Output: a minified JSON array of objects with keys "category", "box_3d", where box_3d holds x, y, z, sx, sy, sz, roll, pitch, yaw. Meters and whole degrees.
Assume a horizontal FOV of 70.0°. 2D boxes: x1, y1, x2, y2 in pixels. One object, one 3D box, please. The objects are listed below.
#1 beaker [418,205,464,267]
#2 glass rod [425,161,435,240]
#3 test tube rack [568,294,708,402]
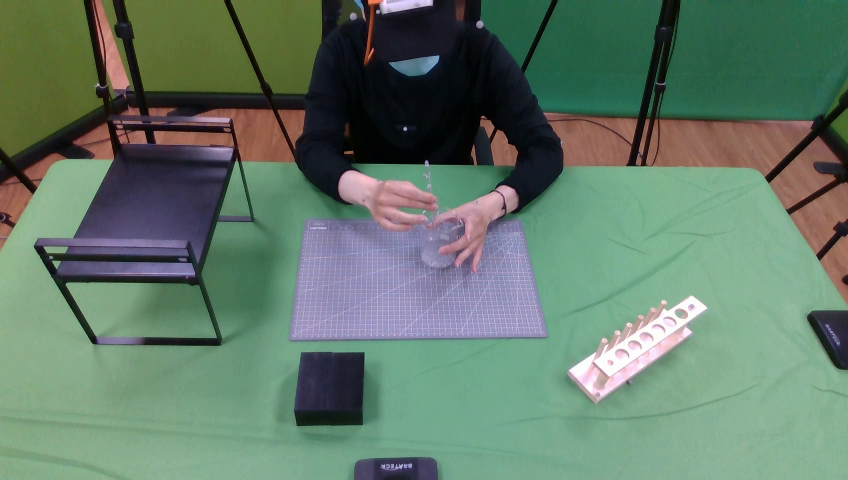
[{"category":"beaker","box_3d":[0.031,-0.005,1.134,0.084,0.101,0.073,7,43,8]},{"category":"glass rod","box_3d":[0.011,-0.065,1.066,0.008,0.201,0.008,-2,51,3]},{"category":"test tube rack","box_3d":[0.360,0.167,1.015,0.242,0.085,0.066,-25,52,-25]}]
